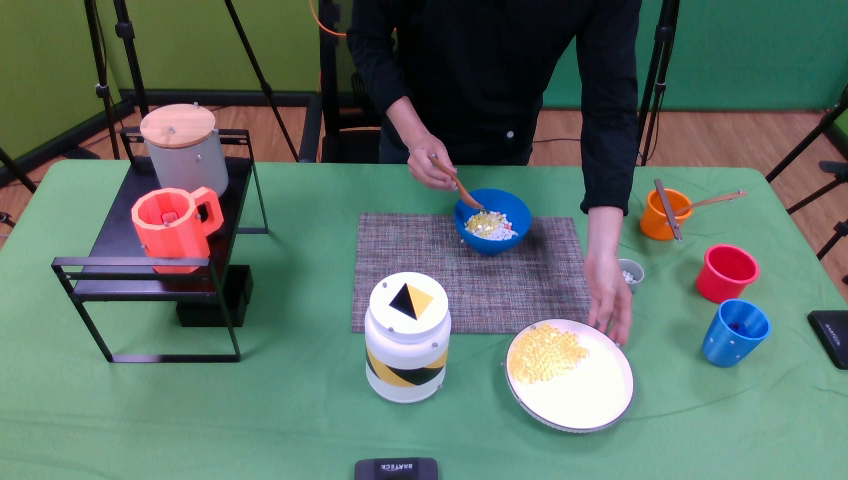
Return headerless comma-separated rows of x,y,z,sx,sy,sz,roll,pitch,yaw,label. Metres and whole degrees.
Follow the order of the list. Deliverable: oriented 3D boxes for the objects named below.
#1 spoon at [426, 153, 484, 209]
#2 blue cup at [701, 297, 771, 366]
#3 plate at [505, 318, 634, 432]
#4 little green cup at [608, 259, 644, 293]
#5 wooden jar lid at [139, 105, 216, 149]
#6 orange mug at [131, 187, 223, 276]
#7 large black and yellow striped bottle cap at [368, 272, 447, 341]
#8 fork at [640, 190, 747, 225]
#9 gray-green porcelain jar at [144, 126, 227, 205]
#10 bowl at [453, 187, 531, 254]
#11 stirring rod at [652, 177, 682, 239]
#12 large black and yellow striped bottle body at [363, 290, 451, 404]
0.055,-0.104,1.084,0.041,0.195,0.021,25,77,41,spoon
0.519,0.162,1.025,0.093,0.101,0.092,3,45,-3,blue cup
0.235,0.221,0.991,0.209,0.038,0.208,2,46,-2,plate
0.379,0.070,1.147,0.061,0.039,0.061,3,46,-2,little green cup
-0.372,-0.169,0.920,0.108,0.021,0.107,4,44,-4,wooden jar lid
-0.354,-0.022,0.888,0.083,0.101,0.126,31,55,24,orange mug
-0.023,0.093,0.875,0.115,0.019,0.114,3,46,-3,large black and yellow striped bottle cap
0.533,-0.065,1.211,0.207,0.019,0.028,-22,28,38,fork
-0.375,-0.126,0.967,0.106,0.127,0.105,2,46,-2,gray-green porcelain jar
0.128,-0.026,1.187,0.151,0.077,0.150,2,46,-2,bowl
0.480,-0.066,1.203,0.014,0.006,0.175,4,47,-3,stirring rod
-0.027,0.153,0.935,0.131,0.185,0.130,2,46,-2,large black and yellow striped bottle body
